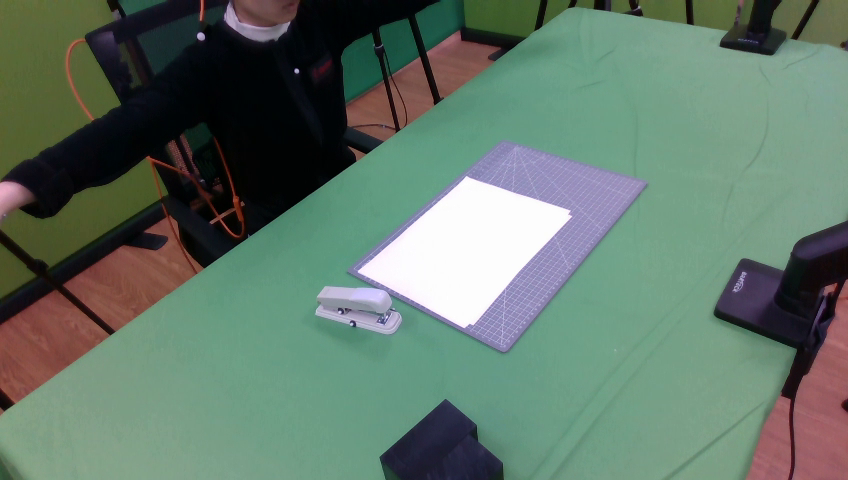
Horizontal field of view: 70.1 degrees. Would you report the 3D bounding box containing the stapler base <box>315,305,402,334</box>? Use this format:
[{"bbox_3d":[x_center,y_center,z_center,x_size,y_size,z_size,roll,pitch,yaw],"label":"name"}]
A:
[{"bbox_3d":[-0.096,0.102,0.868,0.130,0.024,0.041,10,41,22],"label":"stapler base"}]

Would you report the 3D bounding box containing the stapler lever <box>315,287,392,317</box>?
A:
[{"bbox_3d":[-0.101,0.082,0.852,0.117,0.040,0.027,10,41,22],"label":"stapler lever"}]
